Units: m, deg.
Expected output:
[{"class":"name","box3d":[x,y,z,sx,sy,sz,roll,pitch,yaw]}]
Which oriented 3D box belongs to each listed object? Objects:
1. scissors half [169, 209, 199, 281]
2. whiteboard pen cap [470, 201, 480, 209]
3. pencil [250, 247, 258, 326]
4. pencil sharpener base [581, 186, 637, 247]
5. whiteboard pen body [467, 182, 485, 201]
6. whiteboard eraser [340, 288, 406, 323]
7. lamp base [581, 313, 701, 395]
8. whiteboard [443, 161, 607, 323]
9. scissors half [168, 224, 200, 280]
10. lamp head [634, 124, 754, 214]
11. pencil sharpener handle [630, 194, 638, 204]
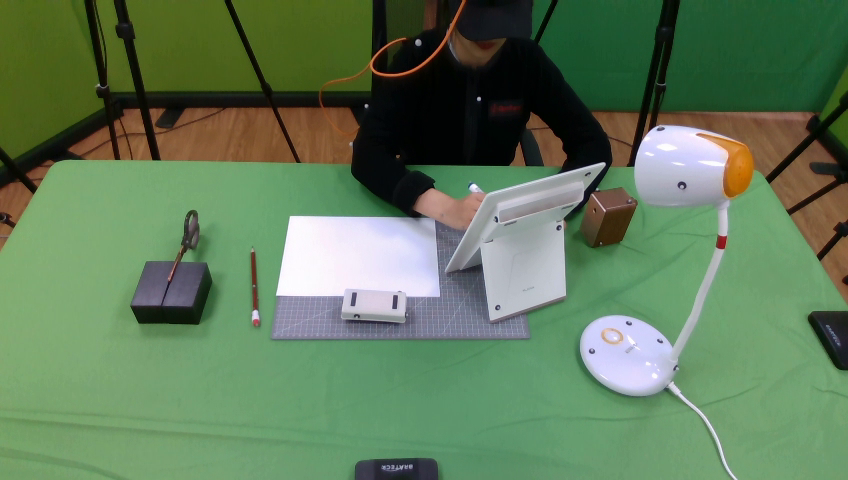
[{"class":"scissors half","box3d":[-0.438,0.007,1.098,0.013,0.040,0.174,3,48,-3]},{"class":"whiteboard pen cap","box3d":[0.113,-0.073,1.279,0.033,0.018,0.018,4,46,6]},{"class":"pencil","box3d":[-0.312,0.079,1.107,0.012,0.012,0.192,-7,46,-11]},{"class":"pencil sharpener base","box3d":[0.369,-0.047,1.209,0.077,0.107,0.061,-11,47,-15]},{"class":"whiteboard pen body","box3d":[0.129,-0.062,1.136,0.017,0.017,0.140,-27,59,-27]},{"class":"whiteboard eraser","box3d":[-0.088,0.117,1.060,0.113,0.042,0.055,3,45,-1]},{"class":"lamp base","box3d":[0.361,0.144,0.973,0.178,0.181,0.160,34,53,23]},{"class":"whiteboard","box3d":[0.185,0.025,1.029,0.217,0.306,0.143,-15,68,-18]},{"class":"scissors half","box3d":[-0.440,0.023,1.111,0.013,0.040,0.174,7,29,-6]},{"class":"lamp head","box3d":[0.351,-0.089,0.776,0.112,0.113,0.122,-30,30,-28]},{"class":"pencil sharpener handle","box3d":[0.417,-0.068,1.215,0.031,0.068,0.036,-11,60,-14]}]
